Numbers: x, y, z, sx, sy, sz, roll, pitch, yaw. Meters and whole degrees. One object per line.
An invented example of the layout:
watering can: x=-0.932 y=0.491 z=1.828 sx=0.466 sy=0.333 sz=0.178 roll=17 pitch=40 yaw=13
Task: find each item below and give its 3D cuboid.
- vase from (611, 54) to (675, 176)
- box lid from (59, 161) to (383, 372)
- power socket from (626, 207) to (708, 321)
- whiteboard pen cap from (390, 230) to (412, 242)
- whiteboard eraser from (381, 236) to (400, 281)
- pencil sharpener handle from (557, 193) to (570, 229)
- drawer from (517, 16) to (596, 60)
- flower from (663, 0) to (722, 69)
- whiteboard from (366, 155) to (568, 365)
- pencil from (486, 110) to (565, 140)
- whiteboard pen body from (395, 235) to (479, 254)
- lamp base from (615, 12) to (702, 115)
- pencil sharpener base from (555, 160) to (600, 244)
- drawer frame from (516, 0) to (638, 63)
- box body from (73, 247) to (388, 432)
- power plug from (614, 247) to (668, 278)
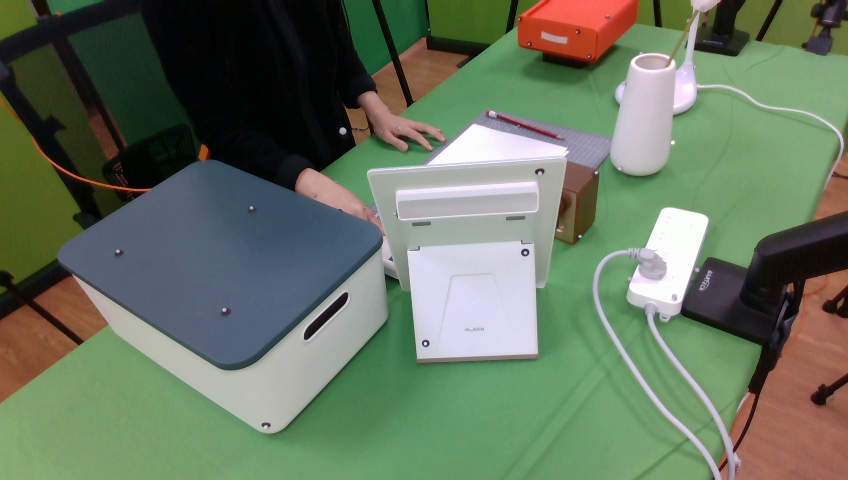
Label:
vase: x=0.377 y=-0.209 z=1.031 sx=0.098 sy=0.201 sz=0.097 roll=-3 pitch=40 yaw=3
box lid: x=-0.262 y=0.010 z=0.777 sx=0.369 sy=0.015 sz=0.264 roll=21 pitch=48 yaw=29
power socket: x=0.359 y=0.025 z=0.886 sx=0.072 sy=0.033 sz=0.227 roll=16 pitch=46 yaw=26
whiteboard pen cap: x=-0.036 y=-0.006 z=0.980 sx=0.033 sy=0.018 sz=0.018 roll=10 pitch=43 yaw=17
whiteboard eraser: x=-0.067 y=0.024 z=0.944 sx=0.112 sy=0.042 sz=0.055 roll=20 pitch=58 yaw=30
pencil sharpener handle: x=0.195 y=-0.038 z=0.908 sx=0.035 sy=0.068 sz=0.031 roll=24 pitch=50 yaw=30
drawer: x=0.352 y=-0.506 z=1.405 sx=0.193 sy=0.073 sz=0.212 roll=23 pitch=49 yaw=32
flower: x=0.379 y=-0.261 z=0.965 sx=0.044 sy=0.362 sz=0.038 roll=20 pitch=53 yaw=5
whiteboard: x=0.059 y=0.049 z=0.738 sx=0.217 sy=0.307 sz=0.143 roll=-3 pitch=60 yaw=5
pencil: x=0.204 y=-0.233 z=1.226 sx=0.192 sy=0.012 sz=0.012 roll=29 pitch=52 yaw=33
whiteboard pen body: x=0.019 y=0.005 z=0.963 sx=0.140 sy=0.017 sz=0.017 roll=9 pitch=43 yaw=17
lamp base: x=0.484 y=-0.364 z=1.211 sx=0.180 sy=0.181 sz=0.159 roll=-15 pitch=41 yaw=-14
pencil sharpener base: x=0.228 y=-0.057 z=0.945 sx=0.061 sy=0.107 sz=0.077 roll=24 pitch=50 yaw=31
drawer frame: x=0.355 y=-0.508 z=1.411 sx=0.200 sy=0.083 sz=0.214 roll=23 pitch=51 yaw=32
box body: x=-0.255 y=0.065 z=0.827 sx=0.361 sy=0.161 sz=0.255 roll=21 pitch=48 yaw=29
power plug: x=0.306 y=0.031 z=0.851 sx=0.072 sy=0.053 sz=0.035 roll=24 pitch=49 yaw=33
